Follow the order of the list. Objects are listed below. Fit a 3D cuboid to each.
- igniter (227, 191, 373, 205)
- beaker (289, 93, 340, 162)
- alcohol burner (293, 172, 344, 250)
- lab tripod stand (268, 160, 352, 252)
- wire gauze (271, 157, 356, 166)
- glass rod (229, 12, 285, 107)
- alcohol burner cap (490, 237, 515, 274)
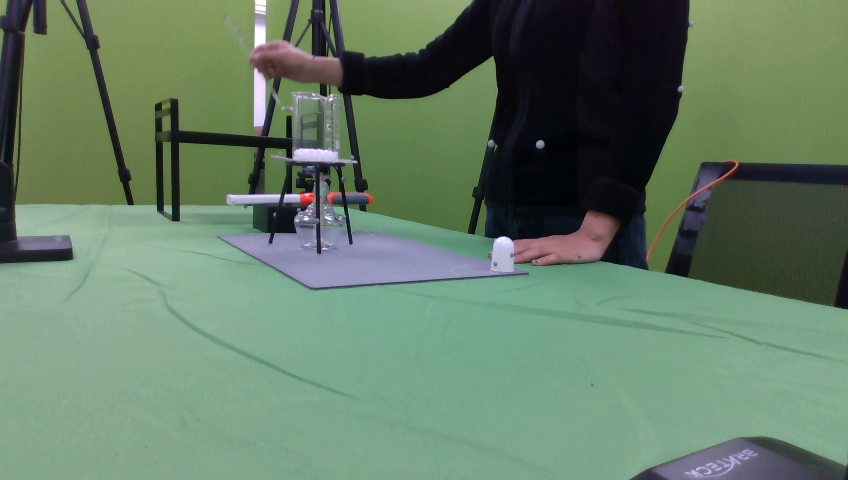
[{"bbox_3d":[-0.232,-0.080,1.162,0.278,0.025,0.057,-3,12,-28],"label":"igniter"},{"bbox_3d":[-0.162,-0.167,0.908,0.074,0.100,0.083,-4,10,-31],"label":"beaker"},{"bbox_3d":[-0.159,-0.045,0.921,0.078,0.119,0.078,5,7,0],"label":"alcohol burner"},{"bbox_3d":[-0.171,-0.055,0.921,0.148,0.131,0.148,1,9,0],"label":"lab tripod stand"},{"bbox_3d":[-0.167,-0.120,0.917,0.125,0.011,0.121,-2,6,-8],"label":"wire gauze"},{"bbox_3d":[-0.329,-0.355,1.199,0.008,0.200,0.008,-24,22,11],"label":"glass rod"},{"bbox_3d":[0.104,0.020,0.793,0.034,0.048,0.034,2,6,0],"label":"alcohol burner cap"}]
